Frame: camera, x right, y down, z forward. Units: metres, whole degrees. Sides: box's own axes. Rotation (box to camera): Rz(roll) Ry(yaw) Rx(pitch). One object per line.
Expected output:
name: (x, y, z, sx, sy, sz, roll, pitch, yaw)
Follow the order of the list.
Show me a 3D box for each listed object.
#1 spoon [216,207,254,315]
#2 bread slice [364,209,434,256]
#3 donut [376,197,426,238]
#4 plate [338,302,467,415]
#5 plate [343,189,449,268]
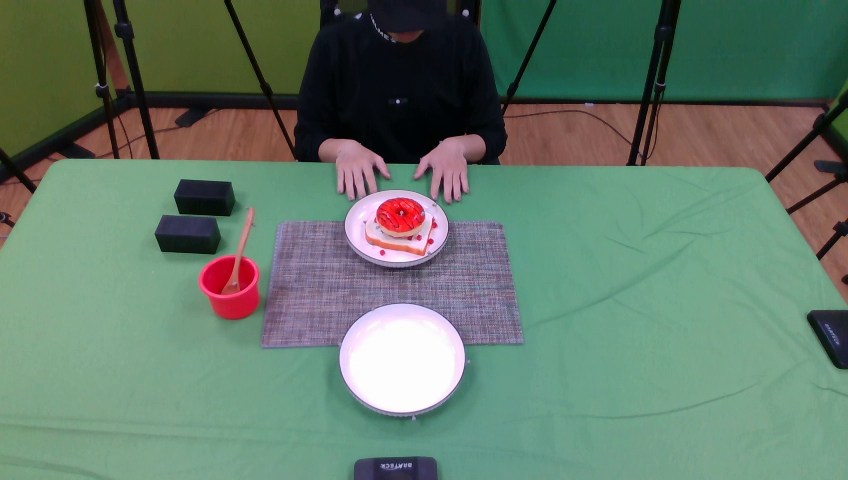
spoon: (-0.322, 0.036, 1.053, 0.041, 0.021, 0.193, 14, 90, 11)
bread slice: (-0.053, -0.020, 1.199, 0.131, 0.019, 0.104, 10, 46, 4)
donut: (-0.045, -0.046, 1.174, 0.099, 0.048, 0.098, 3, 45, -3)
plate: (-0.035, 0.194, 0.992, 0.208, 0.039, 0.206, 2, 48, -2)
plate: (-0.055, -0.020, 1.195, 0.209, 0.038, 0.208, 3, 46, -2)
